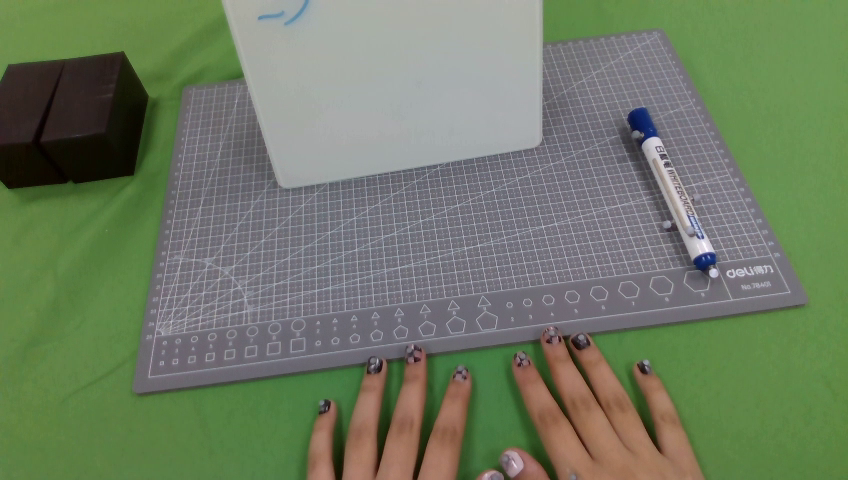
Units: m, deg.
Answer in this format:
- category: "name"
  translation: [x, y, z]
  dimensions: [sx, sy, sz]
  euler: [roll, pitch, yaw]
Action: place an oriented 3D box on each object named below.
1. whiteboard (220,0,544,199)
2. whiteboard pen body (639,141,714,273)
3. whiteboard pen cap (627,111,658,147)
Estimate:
- category: "whiteboard"
  translation: [-0.034, -0.212, 0.453]
  dimensions: [0.217, 0.308, 0.142]
  euler: [-9, 36, -2]
- category: "whiteboard pen body"
  translation: [0.183, -0.037, 0.452]
  dimensions: [0.017, 0.017, 0.139]
  euler: [-9, 57, -2]
- category: "whiteboard pen cap"
  translation: [0.174, -0.086, 0.484]
  dimensions: [0.018, 0.018, 0.033]
  euler: [-8, 58, -2]
